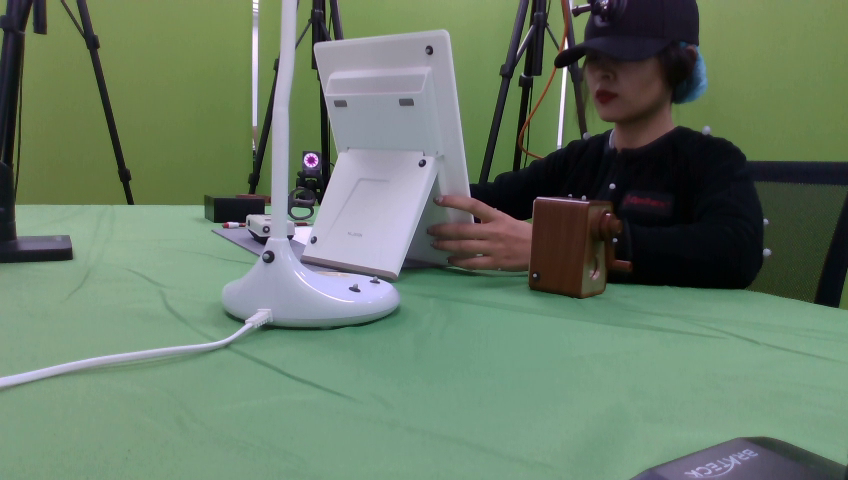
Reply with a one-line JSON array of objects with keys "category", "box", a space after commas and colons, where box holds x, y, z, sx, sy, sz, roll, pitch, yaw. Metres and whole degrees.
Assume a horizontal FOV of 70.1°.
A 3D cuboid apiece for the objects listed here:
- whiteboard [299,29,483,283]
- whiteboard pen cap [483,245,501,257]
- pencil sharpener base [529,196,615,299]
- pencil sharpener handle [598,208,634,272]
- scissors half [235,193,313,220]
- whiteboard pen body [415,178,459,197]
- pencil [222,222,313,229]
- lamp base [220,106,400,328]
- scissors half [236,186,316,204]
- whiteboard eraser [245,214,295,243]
[{"category": "whiteboard", "box": [-0.074, -0.082, 0.742, 0.216, 0.305, 0.144, 9, 29, 37]}, {"category": "whiteboard pen cap", "box": [0.104, 0.017, 0.936, 0.018, 0.018, 0.033, -1, 3, -22]}, {"category": "pencil sharpener base", "box": [0.168, 0.007, 0.678, 0.076, 0.107, 0.062, 10, 10, 42]}, {"category": "pencil sharpener handle", "box": [0.208, 0.000, 0.644, 0.030, 0.068, 0.036, 10, 23, 42]}, {"category": "scissors half", "box": [-0.324, -0.077, 1.319, 0.176, 0.040, 0.012, 17, 6, -31]}, {"category": "whiteboard pen body", "box": [0.019, -0.074, 0.860, 0.017, 0.017, 0.141, 6, 14, 24]}, {"category": "pencil", "box": [-0.302, -0.030, 1.189, 0.195, 0.012, 0.012, -2, 9, -42]}, {"category": "lamp base", "box": [-0.101, -0.023, 0.531, 0.160, 0.180, 0.179, 4, 10, 10]}, {"category": "scissors half", "box": [-0.320, -0.097, 1.316, 0.176, 0.040, 0.013, -3, 11, -29]}, {"category": "whiteboard eraser", "box": [-0.247, -0.018, 0.965, 0.056, 0.042, 0.112, 0, 8, -28]}]
